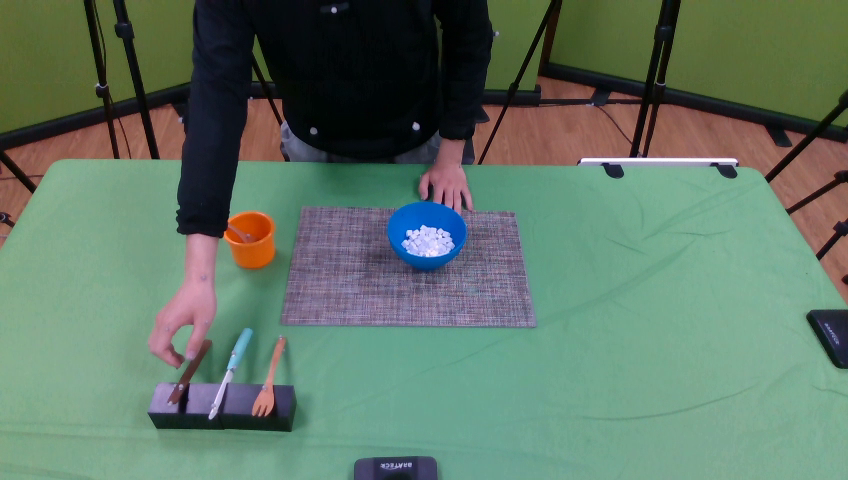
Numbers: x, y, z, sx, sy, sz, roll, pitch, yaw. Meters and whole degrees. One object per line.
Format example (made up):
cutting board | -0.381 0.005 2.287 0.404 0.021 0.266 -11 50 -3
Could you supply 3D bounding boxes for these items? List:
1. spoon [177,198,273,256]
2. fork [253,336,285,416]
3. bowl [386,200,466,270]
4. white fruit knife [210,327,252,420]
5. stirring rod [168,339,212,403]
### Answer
spoon | -0.361 -0.025 1.107 0.195 0.021 0.041 38 35 -32
fork | -0.235 0.206 0.938 0.028 0.019 0.206 -3 26 -3
bowl | 0.002 0.004 1.150 0.151 0.077 0.150 2 46 -2
white fruit knife | -0.297 0.200 0.938 0.016 0.027 0.206 -1 30 1
stirring rod | -0.360 0.199 0.939 0.014 0.006 0.175 8 20 -5
